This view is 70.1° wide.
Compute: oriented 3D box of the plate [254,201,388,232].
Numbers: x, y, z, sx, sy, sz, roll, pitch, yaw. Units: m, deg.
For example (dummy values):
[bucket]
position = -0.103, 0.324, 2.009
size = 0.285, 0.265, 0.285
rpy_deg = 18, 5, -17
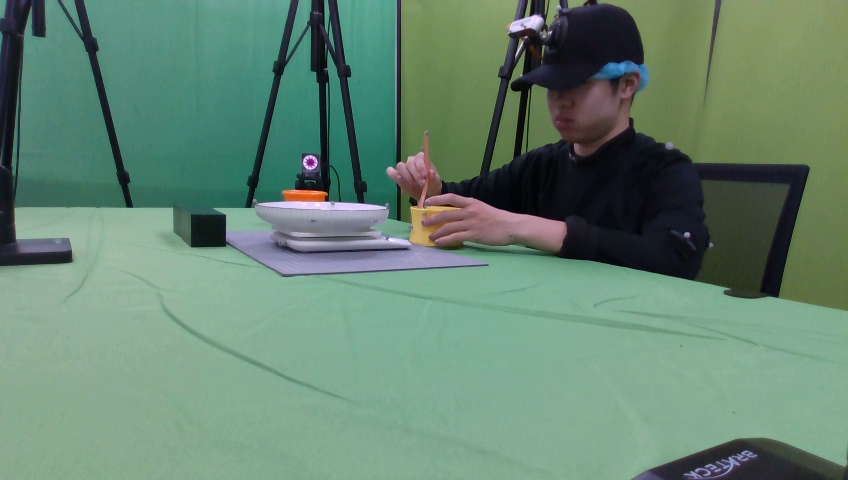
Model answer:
[plate]
position = -0.161, -0.037, 0.961
size = 0.209, 0.038, 0.209
rpy_deg = 2, 6, 0

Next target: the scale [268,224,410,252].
[scale]
position = -0.137, -0.006, 0.979
size = 0.202, 0.031, 0.148
rpy_deg = -1, 8, -30

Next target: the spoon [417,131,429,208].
[spoon]
position = 0.000, -0.101, 1.093
size = 0.021, 0.193, 0.041
rpy_deg = 6, -5, -2

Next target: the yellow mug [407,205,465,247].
[yellow mug]
position = 0.026, -0.027, 1.105
size = 0.099, 0.064, 0.131
rpy_deg = 7, 7, 19
